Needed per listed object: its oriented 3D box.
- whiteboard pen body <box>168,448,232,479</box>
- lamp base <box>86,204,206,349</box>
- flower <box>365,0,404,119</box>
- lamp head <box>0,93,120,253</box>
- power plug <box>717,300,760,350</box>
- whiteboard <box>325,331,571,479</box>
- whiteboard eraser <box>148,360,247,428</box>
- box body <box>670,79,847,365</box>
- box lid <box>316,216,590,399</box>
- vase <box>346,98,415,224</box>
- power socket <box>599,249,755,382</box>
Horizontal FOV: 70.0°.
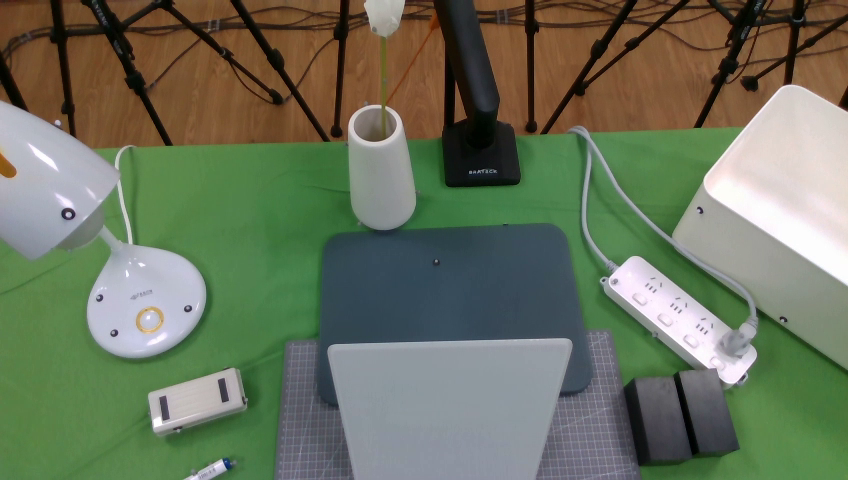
[{"bbox_3d":[-0.301,0.293,0.733,0.141,0.017,0.017,-27,65,-13],"label":"whiteboard pen body"},{"bbox_3d":[-0.393,0.030,0.782,0.160,0.182,0.177,-30,63,-16],"label":"lamp base"},{"bbox_3d":[-0.056,-0.160,0.785,0.043,0.364,0.038,31,49,22],"label":"flower"},{"bbox_3d":[-0.349,-0.067,0.522,0.112,0.124,0.111,-30,30,20],"label":"lamp head"},{"bbox_3d":[0.420,0.119,0.801,0.072,0.053,0.035,-28,64,-20],"label":"power plug"},{"bbox_3d":[0.023,0.143,0.680,0.217,0.308,0.142,0,46,0],"label":"whiteboard"},{"bbox_3d":[-0.288,0.195,0.773,0.113,0.042,0.055,-16,65,-9],"label":"whiteboard eraser"},{"bbox_3d":[0.560,-0.012,0.825,0.361,0.161,0.254,39,68,18],"label":"box body"},{"bbox_3d":[0.037,0.086,0.853,0.372,0.015,0.261,-3,61,-2],"label":"box lid"},{"bbox_3d":[-0.062,-0.107,0.850,0.098,0.201,0.097,1,60,-1],"label":"vase"},{"bbox_3d":[0.347,0.101,0.836,0.072,0.033,0.225,-39,68,-20],"label":"power socket"}]
